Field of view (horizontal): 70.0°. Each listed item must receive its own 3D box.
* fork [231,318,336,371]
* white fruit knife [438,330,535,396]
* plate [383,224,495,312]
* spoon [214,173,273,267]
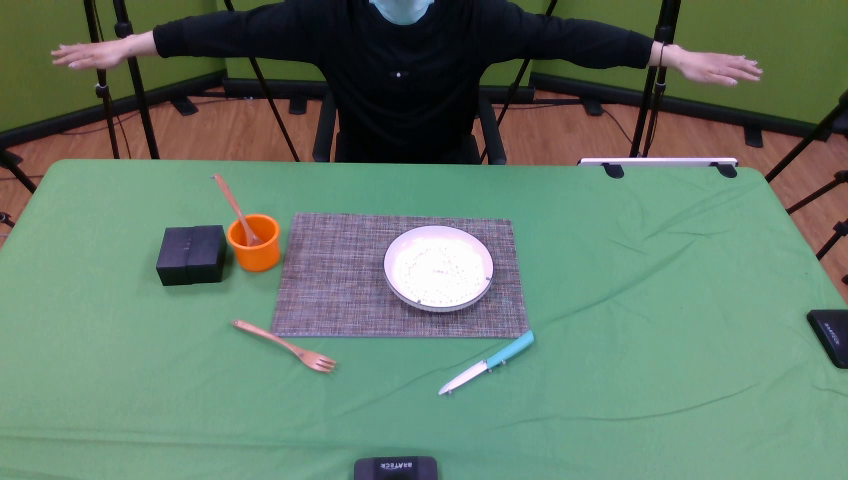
[{"bbox_3d":[-0.239,0.173,1.014,0.207,0.019,0.028,23,55,15],"label":"fork"},{"bbox_3d":[0.108,0.206,1.009,0.207,0.016,0.027,-27,30,-22],"label":"white fruit knife"},{"bbox_3d":[0.026,0.055,1.128,0.209,0.038,0.208,2,46,-2],"label":"plate"},{"bbox_3d":[-0.336,-0.037,1.121,0.041,0.194,0.021,-29,10,-25],"label":"spoon"}]
